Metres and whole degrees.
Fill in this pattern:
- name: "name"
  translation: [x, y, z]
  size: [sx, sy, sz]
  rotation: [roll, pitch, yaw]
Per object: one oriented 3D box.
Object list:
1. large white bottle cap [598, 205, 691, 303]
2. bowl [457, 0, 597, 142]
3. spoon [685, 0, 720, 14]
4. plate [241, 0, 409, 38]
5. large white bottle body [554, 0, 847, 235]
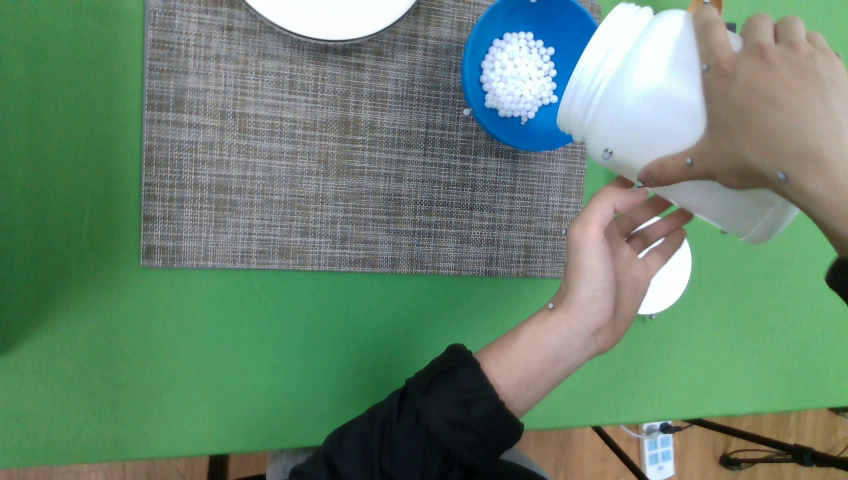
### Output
- name: "large white bottle cap"
  translation: [0.256, 0.017, 0.702]
  size: [0.115, 0.018, 0.115]
  rotation: [-2, 97, -16]
- name: "bowl"
  translation: [0.096, -0.171, 0.601]
  size: [0.152, 0.076, 0.151]
  rotation: [-2, 96, -15]
- name: "spoon"
  translation: [0.264, -0.175, 0.634]
  size: [0.042, 0.021, 0.194]
  rotation: [14, 97, -20]
- name: "plate"
  translation: [-0.096, -0.288, 0.557]
  size: [0.210, 0.038, 0.209]
  rotation: [-1, 93, -16]
- name: "large white bottle body"
  translation: [0.208, -0.102, 0.469]
  size: [0.184, 0.131, 0.130]
  rotation: [33, 86, 14]
